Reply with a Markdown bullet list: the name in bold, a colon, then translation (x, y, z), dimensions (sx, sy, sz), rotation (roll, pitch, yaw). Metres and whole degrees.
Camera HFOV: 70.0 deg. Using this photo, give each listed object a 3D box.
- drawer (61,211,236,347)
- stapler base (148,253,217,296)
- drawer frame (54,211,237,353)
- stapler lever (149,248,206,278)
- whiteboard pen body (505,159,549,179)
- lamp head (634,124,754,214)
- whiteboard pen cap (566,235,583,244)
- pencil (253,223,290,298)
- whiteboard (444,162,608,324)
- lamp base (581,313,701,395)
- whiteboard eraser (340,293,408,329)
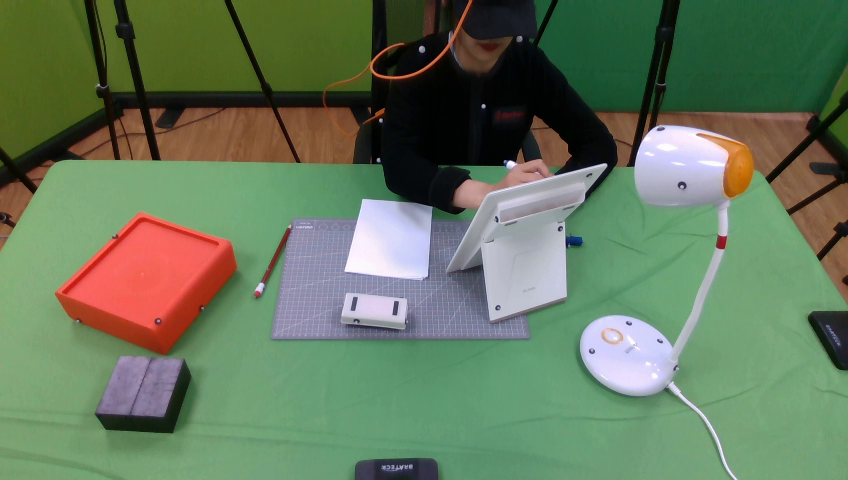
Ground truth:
- **drawer**: translation (-0.473, 0.064, 1.059), dimensions (0.194, 0.073, 0.211), rotation (18, 48, 11)
- **stapler base**: translation (-0.443, 0.059, 1.109), dimensions (0.130, 0.024, 0.041), rotation (24, 51, 11)
- **drawer frame**: translation (-0.473, 0.067, 1.055), dimensions (0.201, 0.083, 0.212), rotation (17, 48, 11)
- **stapler lever**: translation (-0.443, 0.037, 1.084), dimensions (0.118, 0.040, 0.027), rotation (19, 49, 17)
- **whiteboard pen body**: translation (0.198, -0.112, 1.052), dimensions (0.140, 0.017, 0.017), rotation (30, 51, 34)
- **lamp head**: translation (0.351, -0.089, 0.776), dimensions (0.112, 0.113, 0.122), rotation (-30, 30, -28)
- **whiteboard pen cap**: translation (0.303, 0.000, 1.221), dimensions (0.033, 0.018, 0.018), rotation (3, 46, -2)
- **pencil**: translation (-0.286, 0.033, 1.150), dimensions (0.012, 0.012, 0.193), rotation (9, 46, 4)
- **whiteboard**: translation (0.186, 0.026, 1.028), dimensions (0.217, 0.306, 0.143), rotation (-14, 68, -17)
- **lamp base**: translation (0.361, 0.144, 0.972), dimensions (0.178, 0.181, 0.160), rotation (34, 53, 23)
- **whiteboard eraser**: translation (-0.087, 0.125, 1.052), dimensions (0.113, 0.042, 0.055), rotation (5, 45, 1)
